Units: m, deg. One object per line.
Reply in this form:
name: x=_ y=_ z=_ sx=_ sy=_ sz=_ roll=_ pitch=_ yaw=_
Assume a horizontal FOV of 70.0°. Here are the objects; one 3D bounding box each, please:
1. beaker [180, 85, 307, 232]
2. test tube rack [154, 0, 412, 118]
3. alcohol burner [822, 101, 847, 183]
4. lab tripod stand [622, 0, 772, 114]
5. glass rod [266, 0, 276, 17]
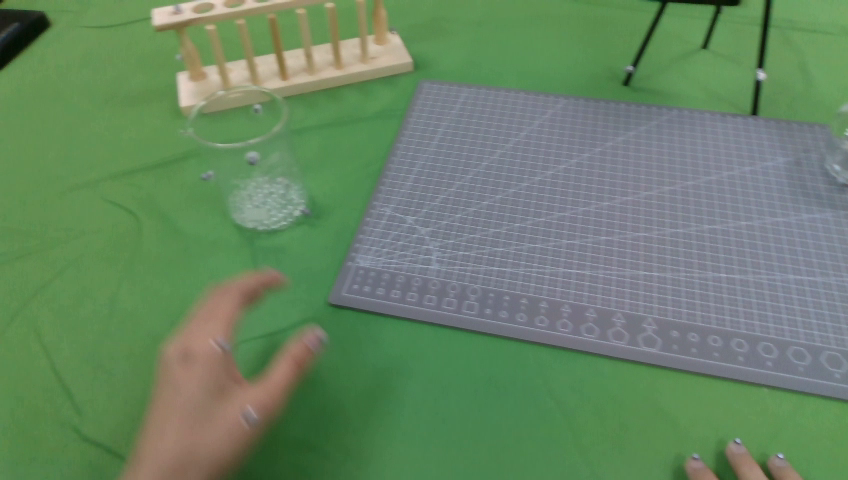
beaker: x=-0.140 y=-0.061 z=0.493 sx=0.084 sy=0.101 sz=0.073 roll=-12 pitch=49 yaw=-7
test tube rack: x=-0.139 y=-0.205 z=0.626 sx=0.243 sy=0.086 sz=0.066 roll=-15 pitch=50 yaw=-10
alcohol burner: x=0.380 y=-0.100 z=0.493 sx=0.078 sy=0.120 sz=0.077 roll=-1 pitch=51 yaw=1
lab tripod stand: x=0.280 y=-0.209 z=0.583 sx=0.148 sy=0.132 sz=0.147 roll=0 pitch=49 yaw=0
glass rod: x=-0.152 y=-0.250 z=0.578 sx=0.008 sy=0.201 sz=0.008 roll=2 pitch=52 yaw=-2
